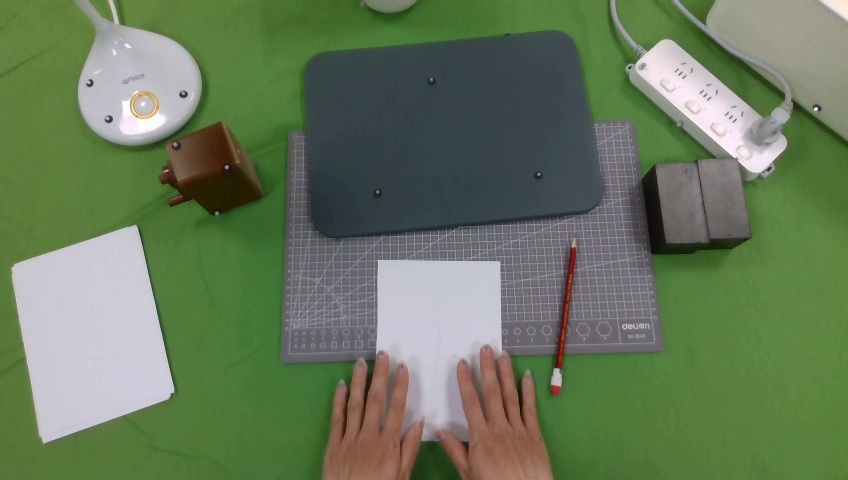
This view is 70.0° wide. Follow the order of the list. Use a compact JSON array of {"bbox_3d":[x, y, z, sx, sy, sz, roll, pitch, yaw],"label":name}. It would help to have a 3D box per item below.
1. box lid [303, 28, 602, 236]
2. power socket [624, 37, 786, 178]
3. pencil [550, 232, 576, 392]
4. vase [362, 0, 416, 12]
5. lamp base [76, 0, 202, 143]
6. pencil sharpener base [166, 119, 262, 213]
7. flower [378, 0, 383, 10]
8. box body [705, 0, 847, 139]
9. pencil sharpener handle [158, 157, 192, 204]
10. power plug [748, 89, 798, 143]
[{"bbox_3d":[0.033,-0.145,0.784,0.372,0.015,0.261,-6,74,-1],"label":"box lid"},{"bbox_3d":[0.361,-0.171,0.779,0.072,0.033,0.225,-41,78,-10],"label":"power socket"},{"bbox_3d":[0.167,0.082,0.718,0.012,0.012,0.193,10,77,4],"label":"pencil"},{"bbox_3d":[-0.048,-0.379,0.753,0.098,0.201,0.097,0,73,0],"label":"vase"},{"bbox_3d":[-0.381,-0.232,0.723,0.160,0.181,0.178,-32,74,-8],"label":"lamp base"},{"bbox_3d":[-0.248,-0.084,0.720,0.077,0.107,0.061,-22,75,-5],"label":"pencil sharpener base"},{"bbox_3d":[-0.040,-0.416,0.677,0.044,0.364,0.038,-26,63,-22],"label":"flower"},{"bbox_3d":[0.571,-0.277,0.739,0.362,0.161,0.254,43,79,11],"label":"box body"},{"bbox_3d":[-0.294,-0.065,0.702,0.030,0.068,0.035,-22,62,-5],"label":"pencil sharpener handle"},{"bbox_3d":[0.433,-0.145,0.747,0.072,0.053,0.035,-30,73,-12],"label":"power plug"}]
